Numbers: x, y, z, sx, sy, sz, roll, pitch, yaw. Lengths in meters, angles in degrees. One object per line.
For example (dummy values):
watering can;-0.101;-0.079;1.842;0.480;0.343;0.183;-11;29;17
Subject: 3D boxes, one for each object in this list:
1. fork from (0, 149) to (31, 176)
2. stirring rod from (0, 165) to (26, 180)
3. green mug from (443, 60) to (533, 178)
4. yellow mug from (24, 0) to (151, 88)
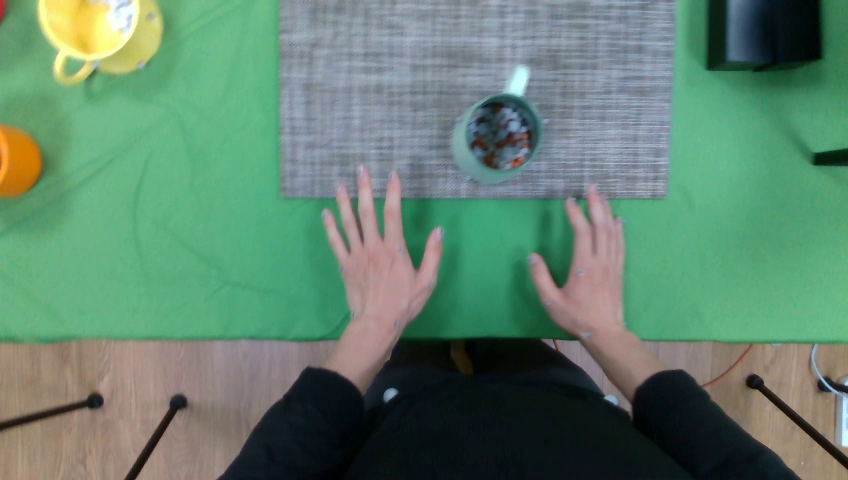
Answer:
fork;-0.514;-0.097;0.605;0.209;0.018;0.028;13;91;-47
stirring rod;-0.506;-0.079;0.610;0.177;0.006;0.014;5;85;-43
green mug;0.073;-0.130;0.649;0.092;0.105;0.125;16;93;-3
yellow mug;-0.363;-0.219;0.645;0.100;0.064;0.131;32;93;-5
